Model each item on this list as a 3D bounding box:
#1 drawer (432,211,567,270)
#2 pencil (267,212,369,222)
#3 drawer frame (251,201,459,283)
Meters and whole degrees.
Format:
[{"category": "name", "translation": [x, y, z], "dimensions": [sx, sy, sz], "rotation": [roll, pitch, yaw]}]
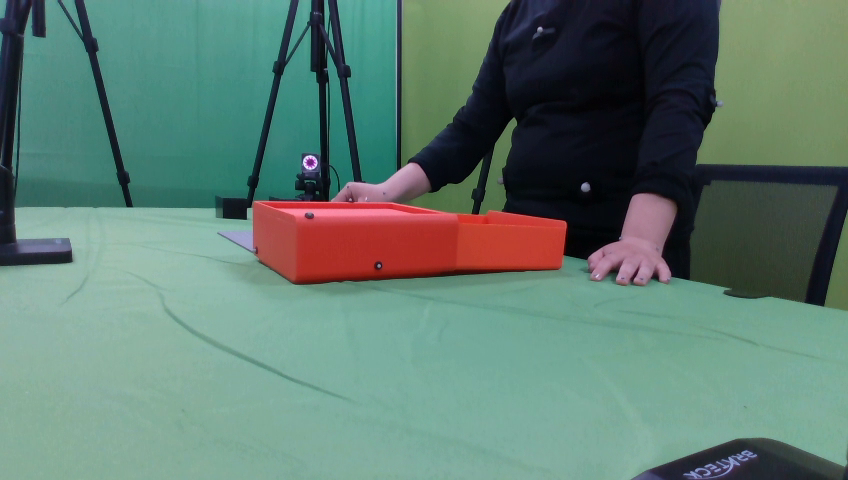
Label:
[{"category": "drawer", "translation": [0.063, -0.005, 0.879], "dimensions": [0.213, 0.073, 0.193], "rotation": [1, 7, -30]}, {"category": "pencil", "translation": [-0.190, -0.040, 1.111], "dimensions": [0.195, 0.012, 0.012], "rotation": [2, 6, -28]}, {"category": "drawer frame", "translation": [-0.095, -0.005, 0.788], "dimensions": [0.215, 0.082, 0.200], "rotation": [-2, 10, -30]}]
